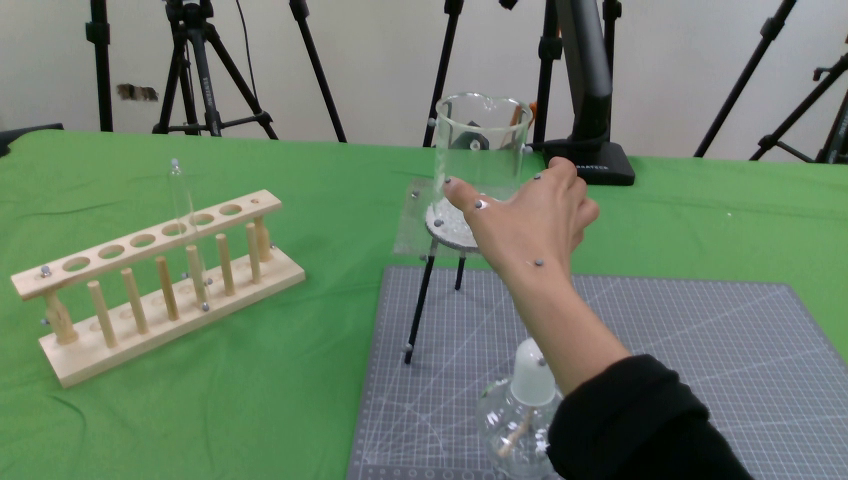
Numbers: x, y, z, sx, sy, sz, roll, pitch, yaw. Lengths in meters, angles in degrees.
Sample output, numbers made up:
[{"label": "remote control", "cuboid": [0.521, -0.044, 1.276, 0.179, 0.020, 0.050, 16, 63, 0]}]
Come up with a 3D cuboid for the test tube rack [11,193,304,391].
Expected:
[{"label": "test tube rack", "cuboid": [-0.241, 0.040, 0.587, 0.243, 0.086, 0.066, -25, 42, -34]}]

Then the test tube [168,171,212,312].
[{"label": "test tube", "cuboid": [-0.216, 0.005, 0.560, 0.017, 0.151, 0.017, 2, 33, -1]}]

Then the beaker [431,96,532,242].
[{"label": "beaker", "cuboid": [0.043, -0.057, 0.491, 0.074, 0.101, 0.083, 10, 34, 8]}]

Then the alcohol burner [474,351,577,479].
[{"label": "alcohol burner", "cuboid": [0.077, 0.122, 0.448, 0.078, 0.120, 0.077, 2, 36, -1]}]

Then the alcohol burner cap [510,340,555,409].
[{"label": "alcohol burner cap", "cuboid": [0.078, 0.092, 0.428, 0.034, 0.048, 0.033, -1, 33, 1]}]

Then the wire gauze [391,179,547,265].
[{"label": "wire gauze", "cuboid": [0.039, -0.016, 0.516, 0.121, 0.011, 0.124, 4, 36, 3]}]

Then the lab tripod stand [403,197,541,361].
[{"label": "lab tripod stand", "cuboid": [0.046, 0.038, 0.555, 0.148, 0.132, 0.147, 3, 33, -1]}]
